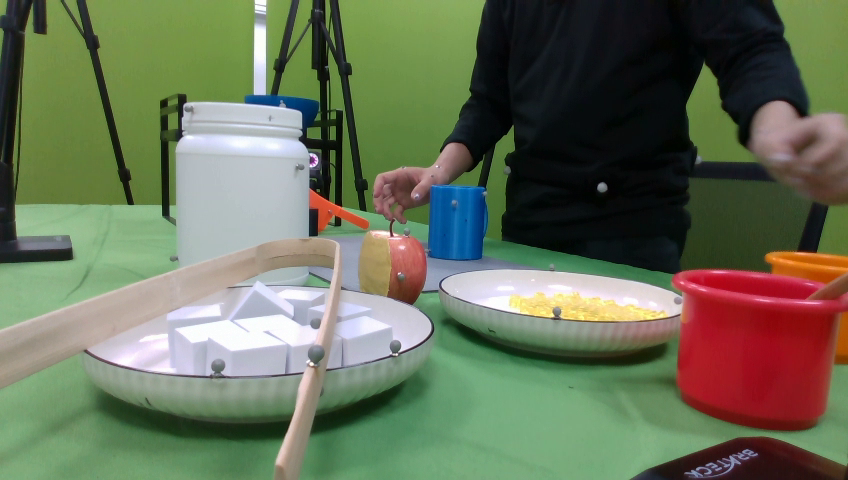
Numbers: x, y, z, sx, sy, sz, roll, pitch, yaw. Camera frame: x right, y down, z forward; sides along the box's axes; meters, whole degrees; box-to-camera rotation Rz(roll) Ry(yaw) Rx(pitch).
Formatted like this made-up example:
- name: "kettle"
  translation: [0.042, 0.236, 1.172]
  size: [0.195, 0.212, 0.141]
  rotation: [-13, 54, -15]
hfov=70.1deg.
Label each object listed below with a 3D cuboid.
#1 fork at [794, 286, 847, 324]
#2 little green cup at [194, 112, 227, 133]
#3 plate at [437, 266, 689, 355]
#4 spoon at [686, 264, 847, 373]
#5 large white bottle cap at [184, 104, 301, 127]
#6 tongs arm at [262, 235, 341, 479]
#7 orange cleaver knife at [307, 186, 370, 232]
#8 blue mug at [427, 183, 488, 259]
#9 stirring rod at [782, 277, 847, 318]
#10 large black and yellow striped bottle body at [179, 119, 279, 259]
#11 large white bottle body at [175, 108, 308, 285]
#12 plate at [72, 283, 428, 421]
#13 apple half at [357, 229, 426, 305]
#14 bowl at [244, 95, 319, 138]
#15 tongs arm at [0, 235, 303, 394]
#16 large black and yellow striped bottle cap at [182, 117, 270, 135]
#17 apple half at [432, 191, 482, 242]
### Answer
- name: "fork"
  translation: [0.332, 0.018, 0.443]
  size: [0.028, 0.018, 0.207]
  rotation: [-1, -36, -15]
- name: "little green cup"
  translation: [-0.412, -0.228, 1.171]
  size: [0.061, 0.038, 0.061]
  rotation: [2, 8, 0]
- name: "plate"
  translation: [0.114, 0.057, 0.517]
  size: [0.209, 0.038, 0.209]
  rotation: [3, 7, 0]
- name: "spoon"
  translation: [0.214, 0.032, 0.327]
  size: [0.042, 0.021, 0.193]
  rotation: [-3, -35, -26]
- name: "large white bottle cap"
  translation: [-0.184, -0.126, 0.618]
  size: [0.115, 0.018, 0.115]
  rotation: [2, 8, 0]
- name: "tongs arm"
  translation: [-0.074, 0.039, 0.349]
  size: [0.051, 0.026, 0.384]
  rotation: [-2, 10, -3]
- name: "orange cleaver knife"
  translation: [-0.197, -0.056, 1.140]
  size: [0.212, 0.077, 0.012]
  rotation: [29, 0, -34]
- name: "blue mug"
  translation: [0.059, -0.031, 0.907]
  size: [0.082, 0.106, 0.117]
  rotation: [9, 10, 42]
- name: "stirring rod"
  translation: [0.344, 0.019, 0.460]
  size: [0.014, 0.006, 0.176]
  rotation: [-14, -27, -30]
- name: "large black and yellow striped bottle body"
  translation: [-0.271, -0.074, 0.846]
  size: [0.131, 0.184, 0.130]
  rotation: [0, 9, 0]
- name: "large white bottle body"
  translation: [-0.188, -0.042, 0.630]
  size: [0.131, 0.184, 0.130]
  rotation: [2, 8, 0]
- name: "plate"
  translation: [-0.102, 0.066, 0.381]
  size: [0.208, 0.039, 0.207]
  rotation: [2, 7, 0]
- name: "apple half"
  translation: [-0.026, 0.028, 0.570]
  size: [0.053, 0.074, 0.080]
  rotation: [3, 2, -28]
- name: "bowl"
  translation: [-0.293, -0.251, 1.249]
  size: [0.151, 0.077, 0.151]
  rotation: [2, 8, 0]
- name: "tongs arm"
  translation: [-0.157, 0.038, 0.351]
  size: [0.028, 0.028, 0.388]
  rotation: [-3, 8, 12]
- name: "large black and yellow striped bottle cap"
  translation: [-0.272, -0.156, 0.833]
  size: [0.115, 0.019, 0.115]
  rotation: [1, 7, 0]
- name: "apple half"
  translation: [0.048, -0.037, 0.906]
  size: [0.081, 0.081, 0.033]
  rotation: [2, 15, -2]
